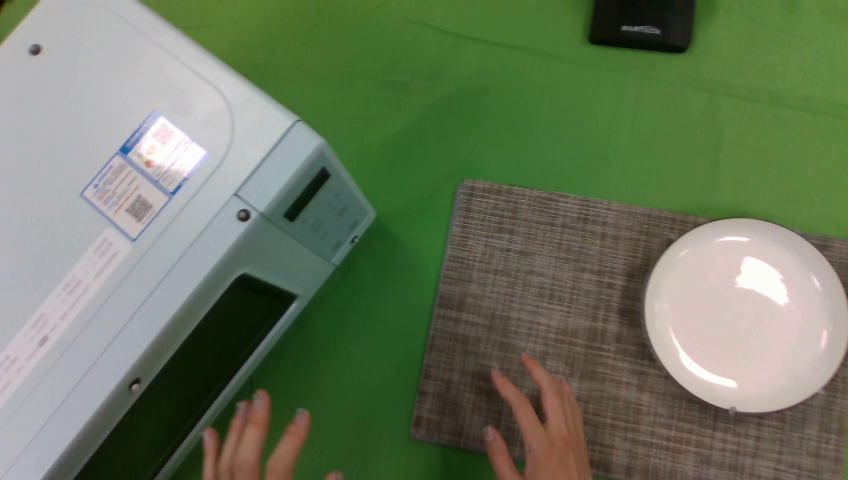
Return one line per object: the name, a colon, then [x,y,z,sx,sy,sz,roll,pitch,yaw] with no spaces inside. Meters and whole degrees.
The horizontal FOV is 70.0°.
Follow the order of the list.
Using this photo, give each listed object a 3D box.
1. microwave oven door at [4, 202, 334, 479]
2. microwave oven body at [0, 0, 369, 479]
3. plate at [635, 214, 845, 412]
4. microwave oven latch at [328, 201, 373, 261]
microwave oven door: [-0.237,0.135,0.575,0.039,0.245,0.355,36,84,13]
microwave oven body: [-0.326,0.019,0.614,0.324,0.261,0.441,36,85,11]
plate: [0.330,0.077,0.647,0.207,0.039,0.206,-1,78,6]
microwave oven latch: [-0.091,-0.015,0.695,0.030,0.029,0.079,38,85,12]
